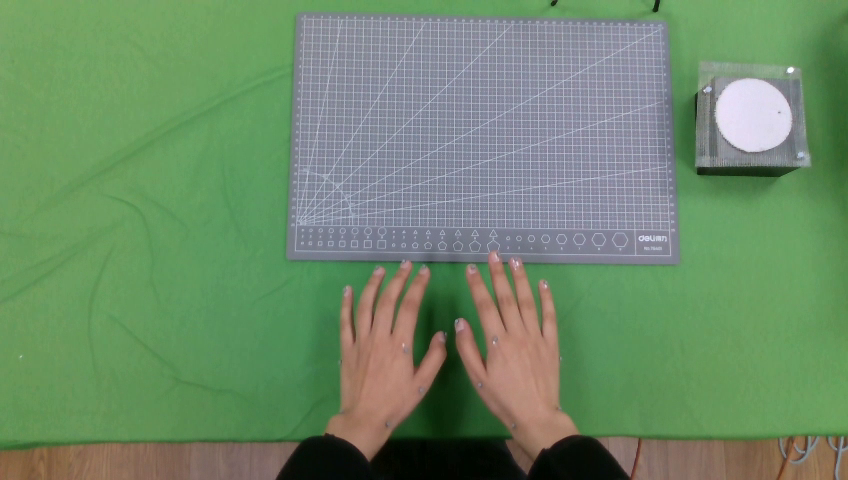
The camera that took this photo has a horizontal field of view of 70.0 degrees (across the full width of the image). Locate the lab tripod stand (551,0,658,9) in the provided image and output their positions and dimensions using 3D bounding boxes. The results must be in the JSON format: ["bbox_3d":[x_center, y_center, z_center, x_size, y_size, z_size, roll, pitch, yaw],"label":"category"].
[{"bbox_3d":[0.223,-0.333,0.684,0.148,0.132,0.148,1,80,-3],"label":"lab tripod stand"}]

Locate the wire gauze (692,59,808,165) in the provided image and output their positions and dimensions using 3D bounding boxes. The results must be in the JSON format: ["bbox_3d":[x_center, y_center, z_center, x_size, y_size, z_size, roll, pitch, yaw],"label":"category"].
[{"bbox_3d":[0.361,-0.141,0.673,0.121,0.011,0.124,4,80,2],"label":"wire gauze"}]
